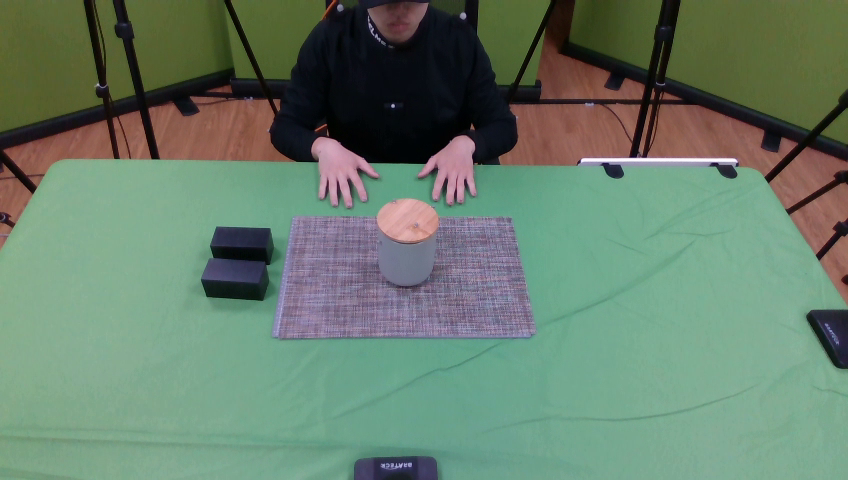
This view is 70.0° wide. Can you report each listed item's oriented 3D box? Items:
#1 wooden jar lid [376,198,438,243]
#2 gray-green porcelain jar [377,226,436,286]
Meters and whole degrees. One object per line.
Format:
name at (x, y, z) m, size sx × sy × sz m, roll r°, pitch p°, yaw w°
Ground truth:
wooden jar lid at (-0.029, -0.031, 1.059) m, size 0.108 × 0.021 × 0.107 m, roll 2°, pitch 45°, yaw -2°
gray-green porcelain jar at (-0.033, 0.014, 1.106) m, size 0.106 × 0.127 × 0.105 m, roll 2°, pitch 46°, yaw -2°
